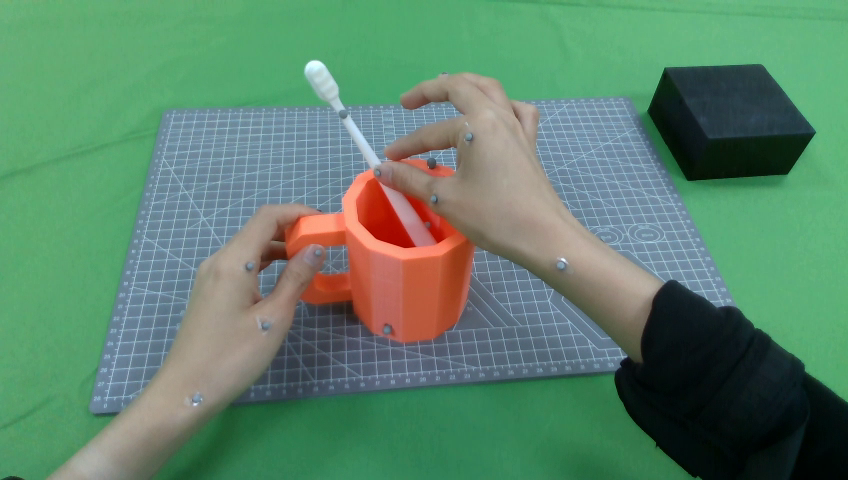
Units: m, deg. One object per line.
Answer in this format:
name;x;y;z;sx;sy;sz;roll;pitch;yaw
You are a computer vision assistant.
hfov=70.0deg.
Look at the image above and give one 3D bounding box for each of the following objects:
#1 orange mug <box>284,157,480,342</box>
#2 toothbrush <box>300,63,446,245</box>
orange mug;-0.028;0.009;0.406;0.126;0.101;0.082;-4;51;-12
toothbrush;-0.019;-0.036;0.390;0.014;0.183;0.016;-38;31;0
